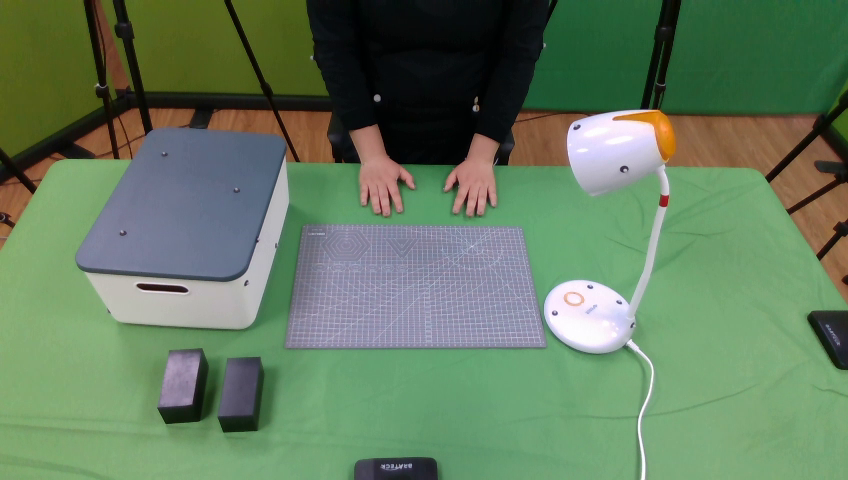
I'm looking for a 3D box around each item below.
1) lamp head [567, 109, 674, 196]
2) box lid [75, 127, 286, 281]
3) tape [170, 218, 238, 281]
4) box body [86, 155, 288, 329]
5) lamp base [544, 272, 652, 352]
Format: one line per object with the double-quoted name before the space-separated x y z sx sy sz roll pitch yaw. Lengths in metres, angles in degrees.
"lamp head" 0.272 -0.123 0.818 0.122 0.113 0.112 -9 35 37
"box lid" -0.398 -0.075 1.039 0.263 0.015 0.369 4 45 -1
"tape" -0.406 0.017 1.121 0.117 0.053 0.116 2 46 -2
"box body" -0.401 -0.025 1.094 0.254 0.161 0.362 3 46 -1
"lamp base" 0.309 0.086 1.029 0.178 0.181 0.160 32 52 21
